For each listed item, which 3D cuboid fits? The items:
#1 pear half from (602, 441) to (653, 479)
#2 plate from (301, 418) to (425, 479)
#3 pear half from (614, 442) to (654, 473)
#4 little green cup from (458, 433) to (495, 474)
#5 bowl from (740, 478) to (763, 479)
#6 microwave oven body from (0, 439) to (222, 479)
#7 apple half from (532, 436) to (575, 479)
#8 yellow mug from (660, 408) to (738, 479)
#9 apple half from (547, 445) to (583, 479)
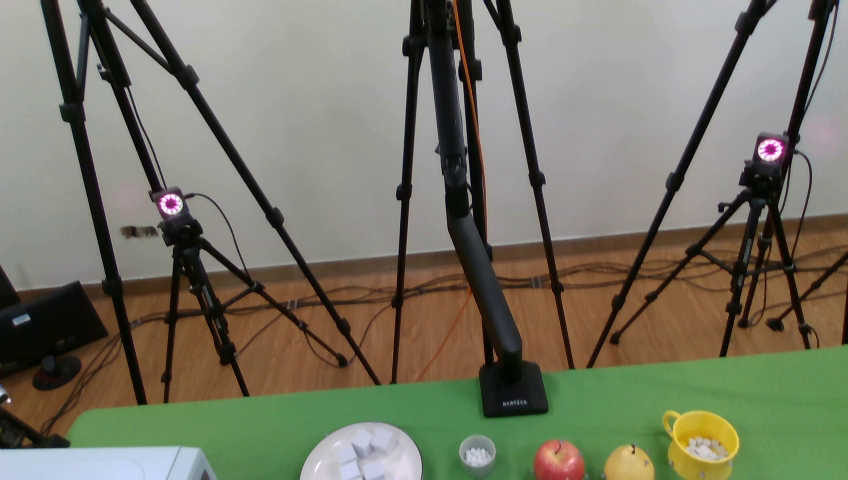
[{"bbox_3d":[0.315,0.357,0.944,0.076,0.111,0.056,13,40,31],"label":"pear half"},{"bbox_3d":[-0.100,0.395,1.021,0.207,0.039,0.205,-4,36,4],"label":"plate"},{"bbox_3d":[0.337,0.346,0.972,0.070,0.089,0.031,11,41,31],"label":"pear half"},{"bbox_3d":[0.091,0.365,1.030,0.061,0.039,0.061,-5,36,4],"label":"little green cup"},{"bbox_3d":[0.478,0.424,0.851,0.151,0.077,0.150,-4,37,4],"label":"bowl"},{"bbox_3d":[-0.457,0.503,0.734,0.326,0.262,0.437,-3,37,5],"label":"microwave oven body"},{"bbox_3d":[0.207,0.358,0.992,0.081,0.075,0.053,-33,40,-26],"label":"apple half"},{"bbox_3d":[0.444,0.327,1.000,0.100,0.064,0.129,-25,39,-22],"label":"yellow mug"},{"bbox_3d":[0.233,0.372,0.966,0.081,0.082,0.032,-30,38,-29],"label":"apple half"}]
